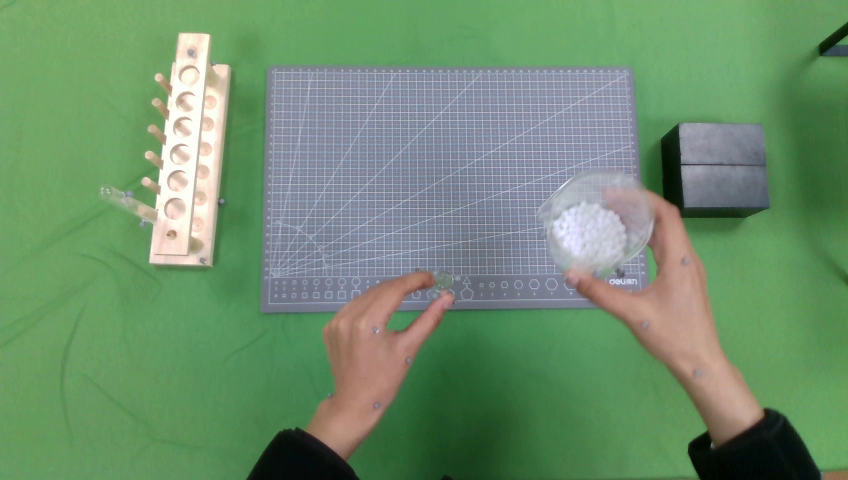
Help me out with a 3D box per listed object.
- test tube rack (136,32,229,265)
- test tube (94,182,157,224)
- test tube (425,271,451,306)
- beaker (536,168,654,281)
[{"bbox_3d":[-0.271,-0.099,0.672,0.067,0.085,0.241,2,80,-2],"label":"test tube rack"},{"bbox_3d":[-0.293,-0.034,0.614,0.017,0.151,0.017,0,80,-3],"label":"test tube"},{"bbox_3d":[0.011,0.047,0.555,0.017,0.150,0.017,0,79,-2],"label":"test tube"},{"bbox_3d":[0.131,-0.007,0.488,0.084,0.101,0.073,7,80,10],"label":"beaker"}]
